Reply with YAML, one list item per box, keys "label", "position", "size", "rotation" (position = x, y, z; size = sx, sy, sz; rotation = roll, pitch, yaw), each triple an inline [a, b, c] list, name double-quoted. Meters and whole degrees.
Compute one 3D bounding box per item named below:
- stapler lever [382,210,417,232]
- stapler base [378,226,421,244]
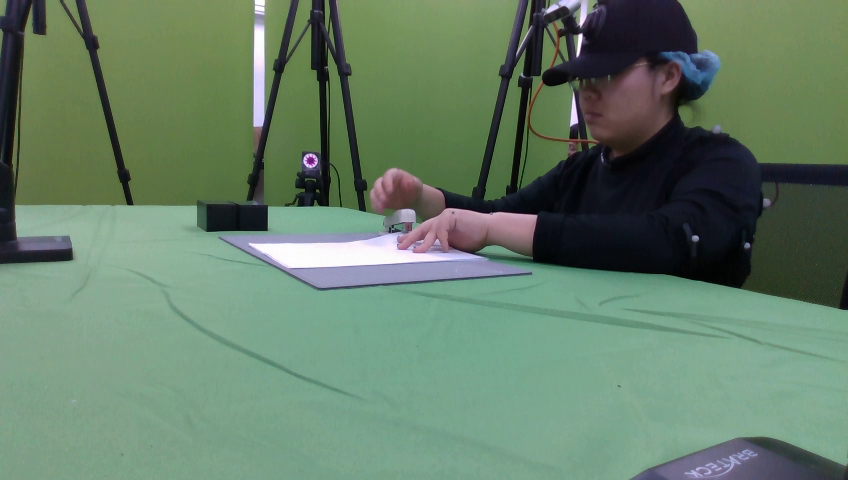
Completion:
- label: "stapler lever"
  position: [-0.044, -0.037, 1.072]
  size: [0.027, 0.040, 0.117]
  rotation: [3, 5, -23]
- label: "stapler base"
  position: [-0.044, -0.012, 1.073]
  size: [0.041, 0.024, 0.130]
  rotation: [3, 5, -23]
